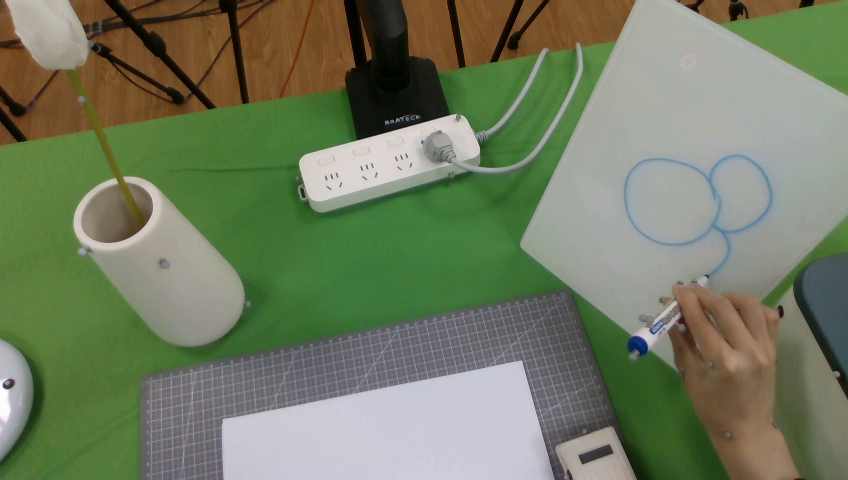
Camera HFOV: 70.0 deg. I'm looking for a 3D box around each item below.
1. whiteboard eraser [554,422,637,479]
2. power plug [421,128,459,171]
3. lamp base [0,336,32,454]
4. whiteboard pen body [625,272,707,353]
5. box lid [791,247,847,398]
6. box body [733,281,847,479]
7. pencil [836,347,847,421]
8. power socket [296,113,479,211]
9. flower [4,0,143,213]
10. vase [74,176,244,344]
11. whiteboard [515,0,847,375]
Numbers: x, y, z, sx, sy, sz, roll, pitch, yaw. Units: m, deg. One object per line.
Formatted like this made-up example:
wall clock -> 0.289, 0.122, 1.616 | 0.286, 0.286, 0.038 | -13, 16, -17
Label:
whiteboard eraser -> 0.162, 0.223, 0.534 | 0.056, 0.042, 0.111 | -16, 63, -9
power plug -> 0.017, -0.095, 0.689 | 0.035, 0.053, 0.072 | -7, 63, -3
lamp base -> -0.477, 0.122, 0.521 | 0.178, 0.182, 0.160 | 18, 63, 14
whiteboard pen body -> 0.202, 0.053, 0.492 | 0.141, 0.017, 0.017 | -27, 61, -40
box lid -> 0.453, 0.148, 0.420 | 0.263, 0.015, 0.368 | -12, 63, -6
box body -> 0.455, 0.186, 0.485 | 0.254, 0.161, 0.360 | -12, 62, -6
pencil -> 0.401, 0.193, 0.562 | 0.012, 0.012, 0.192 | 7, 65, 5
power socket -> -0.041, -0.094, 0.715 | 0.227, 0.033, 0.071 | -16, 63, -8
flower -> -0.237, -0.032, 0.497 | 0.038, 0.365, 0.043 | -22, 45, -18
vase -> -0.239, 0.024, 0.560 | 0.098, 0.201, 0.097 | -1, 61, 2
whiteboard -> 0.257, -0.059, 0.573 | 0.215, 0.307, 0.144 | 41, 50, 21
